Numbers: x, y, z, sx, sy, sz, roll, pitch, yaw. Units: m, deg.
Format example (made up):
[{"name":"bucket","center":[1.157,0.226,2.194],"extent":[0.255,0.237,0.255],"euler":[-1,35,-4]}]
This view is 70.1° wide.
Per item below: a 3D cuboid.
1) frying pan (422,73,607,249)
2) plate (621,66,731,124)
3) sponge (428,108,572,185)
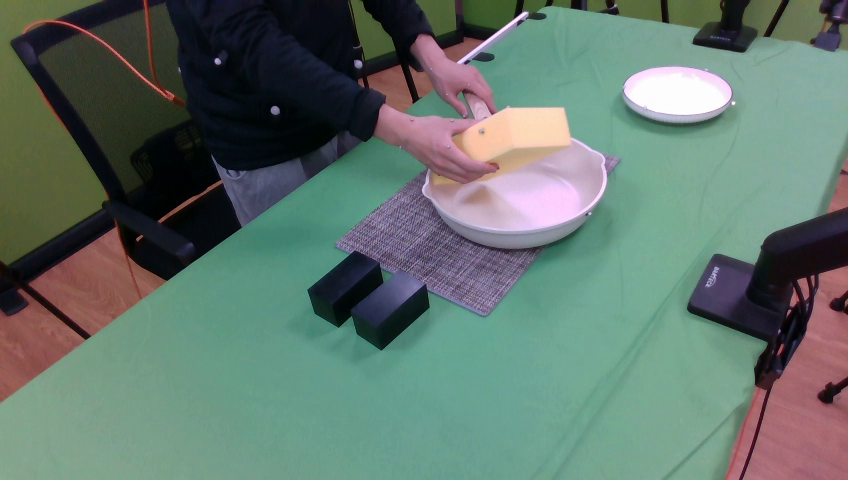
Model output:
[{"name":"frying pan","center":[0.130,-0.161,1.069],"extent":[0.307,0.103,0.484],"euler":[-10,49,-5]},{"name":"plate","center":[0.504,-0.288,1.221],"extent":[0.207,0.039,0.206],"euler":[-4,41,4]},{"name":"sponge","center":[0.113,-0.145,0.956],"extent":[0.119,0.061,0.205],"euler":[-8,-6,-35]}]
